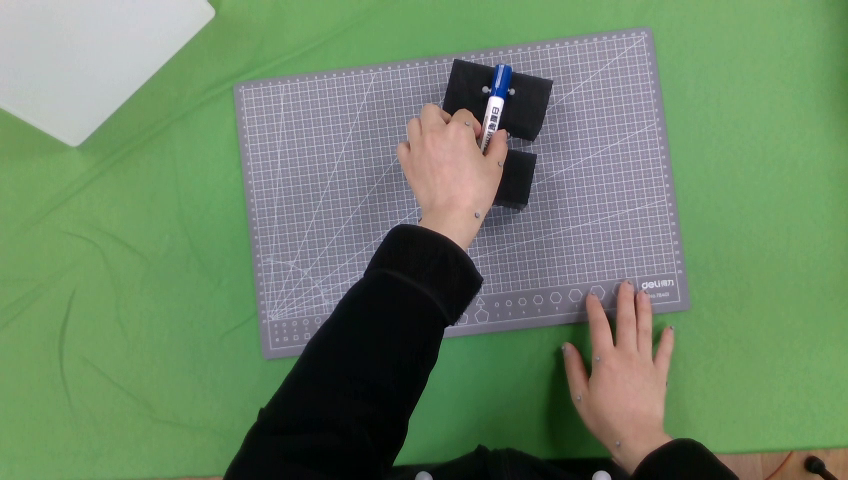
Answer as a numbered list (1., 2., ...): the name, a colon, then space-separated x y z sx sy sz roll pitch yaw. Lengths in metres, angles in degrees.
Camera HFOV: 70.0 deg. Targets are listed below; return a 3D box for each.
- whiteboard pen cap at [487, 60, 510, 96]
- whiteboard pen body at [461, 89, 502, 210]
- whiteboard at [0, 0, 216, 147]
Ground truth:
1. whiteboard pen cap: 0.071 -0.155 0.586 0.018 0.018 0.033 14 91 3
2. whiteboard pen body: 0.058 -0.098 0.584 0.017 0.017 0.140 13 90 3
3. whiteboard: -0.389 -0.267 0.550 0.217 0.308 0.142 -43 66 1
